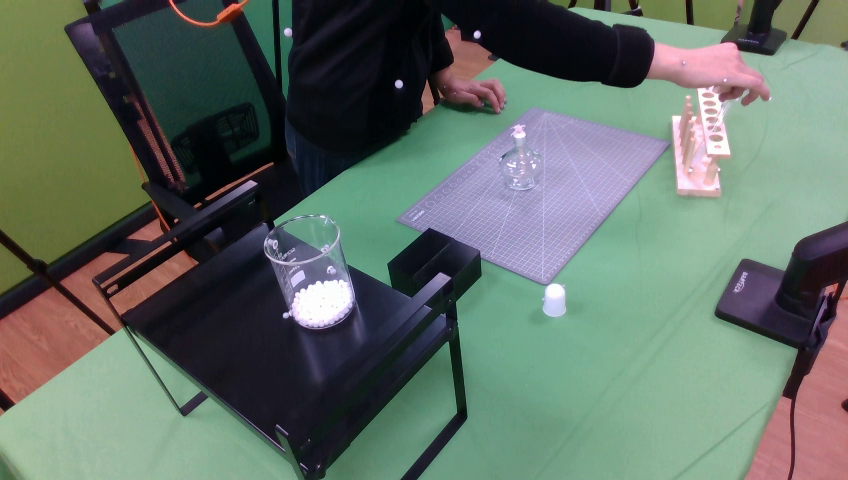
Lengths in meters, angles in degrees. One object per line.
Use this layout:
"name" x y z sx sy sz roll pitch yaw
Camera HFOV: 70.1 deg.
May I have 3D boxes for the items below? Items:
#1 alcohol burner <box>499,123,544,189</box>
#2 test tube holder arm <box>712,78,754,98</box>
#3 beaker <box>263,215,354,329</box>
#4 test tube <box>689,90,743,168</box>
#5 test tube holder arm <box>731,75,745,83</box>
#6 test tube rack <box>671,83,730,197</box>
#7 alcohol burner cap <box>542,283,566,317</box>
"alcohol burner" 0.169 -0.149 1.048 0.078 0.119 0.077 -6 41 5
"test tube holder arm" 0.470 -0.232 0.917 0.013 0.015 0.179 30 33 30
"beaker" -0.112 0.033 0.616 0.073 0.101 0.084 13 44 22
"test tube" 0.484 -0.187 1.006 0.017 0.150 0.017 20 24 -9
"test tube holder arm" 0.493 -0.247 0.953 0.010 0.015 0.088 26 32 24
"test tube rack" 0.482 -0.184 1.067 0.066 0.085 0.242 5 42 15
"alcohol burner cap" 0.182 0.081 0.840 0.034 0.048 0.033 -4 41 4
